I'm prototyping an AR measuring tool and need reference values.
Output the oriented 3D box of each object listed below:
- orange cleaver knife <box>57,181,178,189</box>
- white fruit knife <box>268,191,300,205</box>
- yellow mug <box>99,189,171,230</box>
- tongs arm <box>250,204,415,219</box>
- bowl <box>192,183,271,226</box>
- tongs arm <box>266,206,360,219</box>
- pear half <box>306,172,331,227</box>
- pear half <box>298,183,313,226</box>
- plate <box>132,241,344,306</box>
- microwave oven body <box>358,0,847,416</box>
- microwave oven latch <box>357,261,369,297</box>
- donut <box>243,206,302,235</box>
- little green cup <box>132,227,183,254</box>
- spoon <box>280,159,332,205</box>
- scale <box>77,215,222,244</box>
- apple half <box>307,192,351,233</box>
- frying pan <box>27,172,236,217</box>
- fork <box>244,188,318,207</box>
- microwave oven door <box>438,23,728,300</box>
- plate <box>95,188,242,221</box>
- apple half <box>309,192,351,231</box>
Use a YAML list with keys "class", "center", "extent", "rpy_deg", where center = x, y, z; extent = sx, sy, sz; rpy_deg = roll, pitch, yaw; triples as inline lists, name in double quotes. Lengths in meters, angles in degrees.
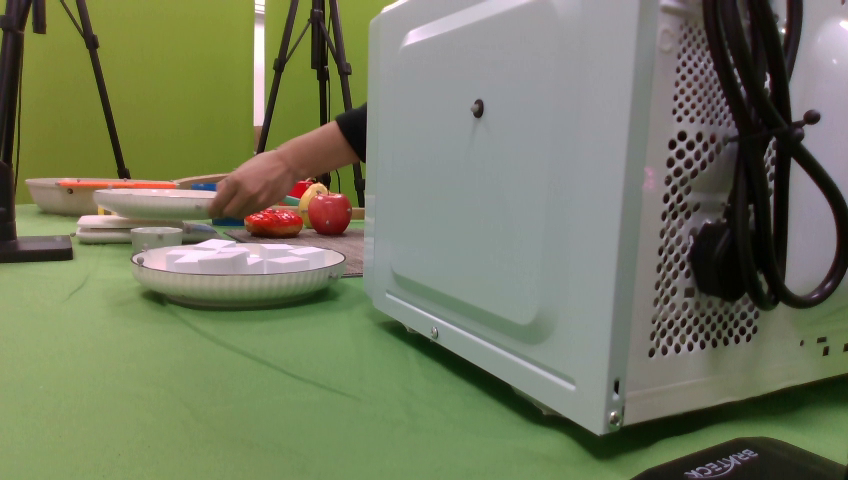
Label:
- class: "orange cleaver knife"
  center: [-0.600, -0.109, 1.189]
  extent: [0.212, 0.012, 0.077]
  rpy_deg: [-1, 11, -26]
- class: "white fruit knife"
  center: [-0.364, -0.105, 1.464]
  extent: [0.208, 0.027, 0.016]
  rpy_deg: [15, -1, -34]
- class: "yellow mug"
  center: [-0.519, -0.055, 1.080]
  extent: [0.099, 0.064, 0.131]
  rpy_deg: [7, 10, 26]
- class: "tongs arm"
  center: [-0.212, -0.067, 1.440]
  extent: [0.389, 0.027, 0.028]
  rpy_deg: [1, -1, -17]
- class: "bowl"
  center: [-0.382, -0.071, 1.202]
  extent: [0.151, 0.077, 0.151]
  rpy_deg: [3, 7, 0]
- class: "tongs arm"
  center: [-0.174, -0.060, 1.363]
  extent: [0.387, 0.026, 0.050]
  rpy_deg: [0, 3, -32]
- class: "pear half"
  center: [-0.199, -0.079, 1.203]
  extent: [0.056, 0.110, 0.076]
  rpy_deg: [2, 11, 2]
- class: "pear half"
  center: [-0.235, -0.071, 1.207]
  extent: [0.031, 0.088, 0.070]
  rpy_deg: [3, 10, 0]
- class: "plate"
  center: [-0.187, 0.033, 0.625]
  extent: [0.208, 0.039, 0.207]
  rpy_deg: [2, 7, 0]
- class: "microwave oven body"
  center: [0.211, -0.047, 0.474]
  extent: [0.444, 0.260, 0.324]
  rpy_deg: [-1, 7, -28]
- class: "microwave oven latch"
  center: [-0.019, 0.033, 0.530]
  extent: [0.079, 0.029, 0.030]
  rpy_deg: [-1, 7, -26]
- class: "donut"
  center: [-0.261, -0.032, 1.044]
  extent: [0.099, 0.048, 0.099]
  rpy_deg: [3, 10, 0]
- class: "little green cup"
  center: [-0.342, 0.006, 0.779]
  extent: [0.061, 0.038, 0.061]
  rpy_deg: [2, 8, 0]
- class: "spoon"
  center: [-0.316, -0.159, 1.640]
  extent: [0.194, 0.022, 0.041]
  rpy_deg: [-50, 32, -20]
- class: "scale"
  center: [-0.434, -0.018, 0.963]
  extent: [0.202, 0.031, 0.148]
  rpy_deg: [-1, 9, -27]
- class: "apple half"
  center: [-0.174, -0.048, 1.087]
  extent: [0.081, 0.074, 0.053]
  rpy_deg: [6, 10, 2]
- class: "frying pan"
  center: [-0.624, -0.118, 1.387]
  extent: [0.305, 0.102, 0.490]
  rpy_deg: [8, 17, 32]
- class: "fork"
  center: [-0.356, -0.105, 1.526]
  extent: [0.208, 0.018, 0.028]
  rpy_deg: [16, -5, -41]
- class: "microwave oven door"
  center: [0.181, -0.073, 0.621]
  extent: [0.358, 0.243, 0.039]
  rpy_deg: [-2, 8, -29]
- class: "plate"
  center: [-0.392, -0.056, 0.938]
  extent: [0.209, 0.038, 0.209]
  rpy_deg: [3, 7, 0]
- class: "apple half"
  center: [-0.173, -0.054, 1.126]
  extent: [0.081, 0.081, 0.033]
  rpy_deg: [2, 10, 2]
